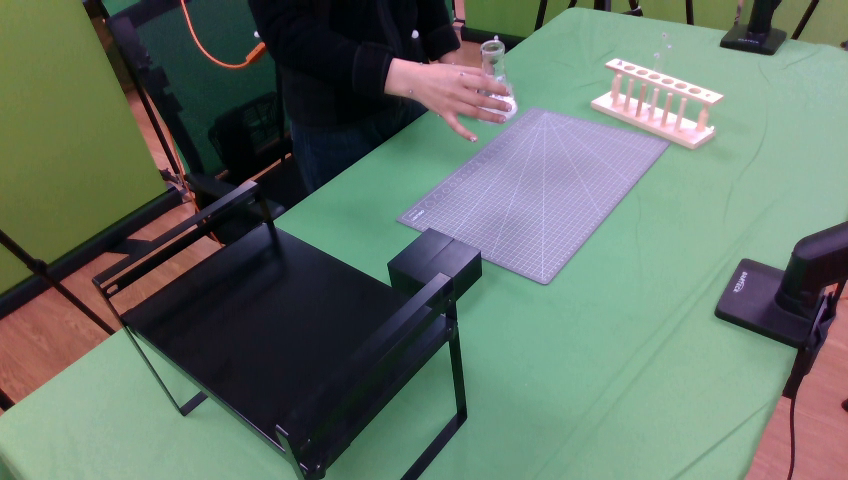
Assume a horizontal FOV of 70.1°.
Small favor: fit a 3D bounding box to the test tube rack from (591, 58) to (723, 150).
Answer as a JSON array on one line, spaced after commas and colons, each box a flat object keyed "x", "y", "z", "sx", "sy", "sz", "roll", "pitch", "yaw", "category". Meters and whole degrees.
[{"x": 0.442, "y": -0.269, "z": 1.171, "sx": 0.067, "sy": 0.085, "sz": 0.240, "roll": -30, "pitch": 46, "yaw": -24, "category": "test tube rack"}]

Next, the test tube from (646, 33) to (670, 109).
[{"x": 0.445, "y": -0.319, "z": 1.154, "sx": 0.017, "sy": 0.151, "sz": 0.017, "roll": -1, "pitch": 41, "yaw": 2, "category": "test tube"}]

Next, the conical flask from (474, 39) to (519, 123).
[{"x": 0.112, "y": -0.253, "z": 0.957, "sx": 0.075, "sy": 0.122, "sz": 0.075, "roll": -5, "pitch": 48, "yaw": 6, "category": "conical flask"}]
